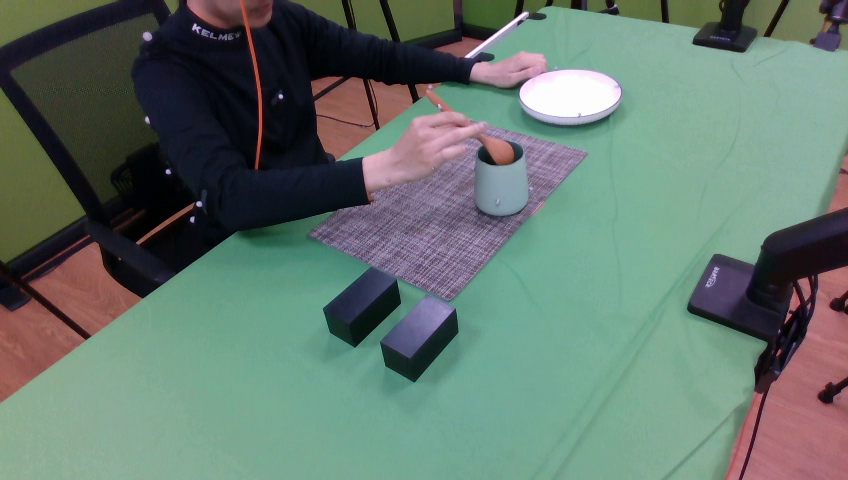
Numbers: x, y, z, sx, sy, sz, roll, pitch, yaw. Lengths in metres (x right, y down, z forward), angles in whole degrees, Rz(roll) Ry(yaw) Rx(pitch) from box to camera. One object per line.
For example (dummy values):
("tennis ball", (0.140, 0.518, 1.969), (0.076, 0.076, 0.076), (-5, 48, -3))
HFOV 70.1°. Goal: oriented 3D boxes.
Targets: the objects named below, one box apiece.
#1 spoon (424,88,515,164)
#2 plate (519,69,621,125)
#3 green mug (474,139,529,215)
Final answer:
("spoon", (0.072, -0.171, 0.930), (0.041, 0.195, 0.021), (-63, 24, -11))
("plate", (0.300, -0.293, 1.253), (0.209, 0.038, 0.208), (-4, 41, 4))
("green mug", (0.126, -0.113, 1.013), (0.092, 0.105, 0.124), (-8, 41, 0))
